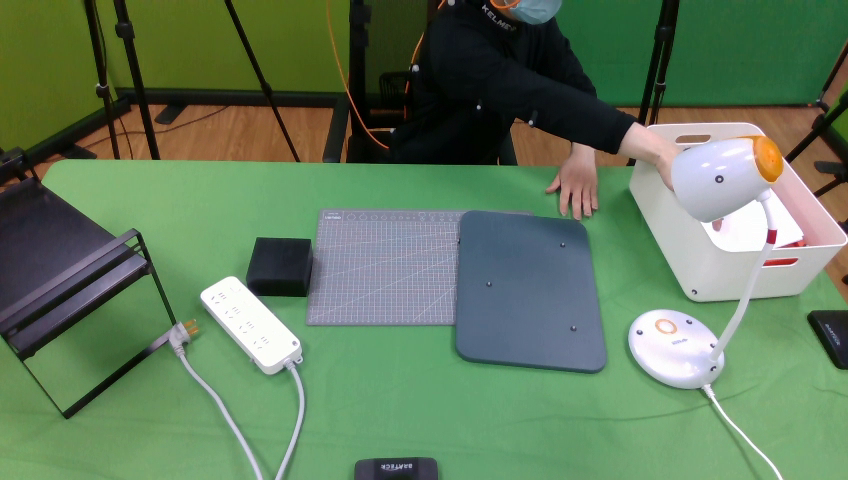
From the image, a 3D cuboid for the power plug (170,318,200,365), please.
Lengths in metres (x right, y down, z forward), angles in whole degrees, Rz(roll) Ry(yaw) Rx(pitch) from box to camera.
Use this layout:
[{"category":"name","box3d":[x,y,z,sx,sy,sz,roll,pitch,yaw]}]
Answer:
[{"category":"power plug","box3d":[-0.392,0.167,1.013,0.052,0.035,0.072,-31,89,-23]}]

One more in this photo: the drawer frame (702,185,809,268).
[{"category":"drawer frame","box3d":[0.584,-0.023,1.160,0.202,0.083,0.212,-12,56,2]}]

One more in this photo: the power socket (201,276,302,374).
[{"category":"power socket","box3d":[-0.297,0.141,1.034,0.072,0.033,0.225,-34,58,-30]}]

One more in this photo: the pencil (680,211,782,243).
[{"category":"pencil","box3d":[0.599,-0.027,1.185,0.194,0.012,0.012,18,48,10]}]

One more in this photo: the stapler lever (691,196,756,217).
[{"category":"stapler lever","box3d":[0.586,-0.066,1.184,0.118,0.040,0.026,2,59,13]}]

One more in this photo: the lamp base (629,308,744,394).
[{"category":"lamp base","box3d":[0.446,0.139,0.987,0.161,0.181,0.178,-18,53,-20]}]

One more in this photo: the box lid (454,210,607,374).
[{"category":"box lid","box3d":[0.194,0.080,1.142,0.263,0.015,0.369,6,47,0]}]

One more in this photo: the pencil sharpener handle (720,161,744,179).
[{"category":"pencil sharpener handle","box3d":[0.667,-0.147,1.299,0.031,0.068,0.036,-8,80,-12]}]

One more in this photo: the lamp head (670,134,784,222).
[{"category":"lamp head","box3d":[0.422,-0.089,0.829,0.113,0.123,0.112,8,74,-32]}]

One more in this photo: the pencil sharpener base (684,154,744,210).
[{"category":"pencil sharpener base","box3d":[0.619,-0.124,1.293,0.077,0.107,0.061,-8,48,-12]}]

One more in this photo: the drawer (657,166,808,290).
[{"category":"drawer","box3d":[0.582,-0.025,1.162,0.194,0.073,0.210,-12,55,3]}]

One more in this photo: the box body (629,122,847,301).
[{"category":"box body","box3d":[0.593,-0.062,1.202,0.254,0.161,0.361,-3,47,-7]}]

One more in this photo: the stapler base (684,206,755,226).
[{"category":"stapler base","box3d":[0.588,-0.052,1.204,0.130,0.024,0.041,2,59,11]}]
